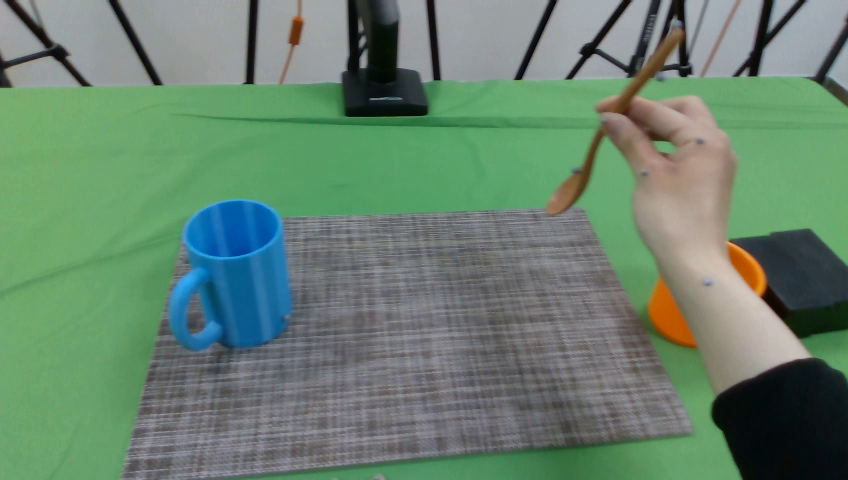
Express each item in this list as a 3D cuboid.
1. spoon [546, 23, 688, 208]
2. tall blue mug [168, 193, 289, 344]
[{"bbox_3d":[0.137,-0.084,0.457,0.021,0.195,0.041,21,57,1],"label":"spoon"},{"bbox_3d":[-0.162,0.035,0.516,0.078,0.109,0.106,4,42,-2],"label":"tall blue mug"}]
